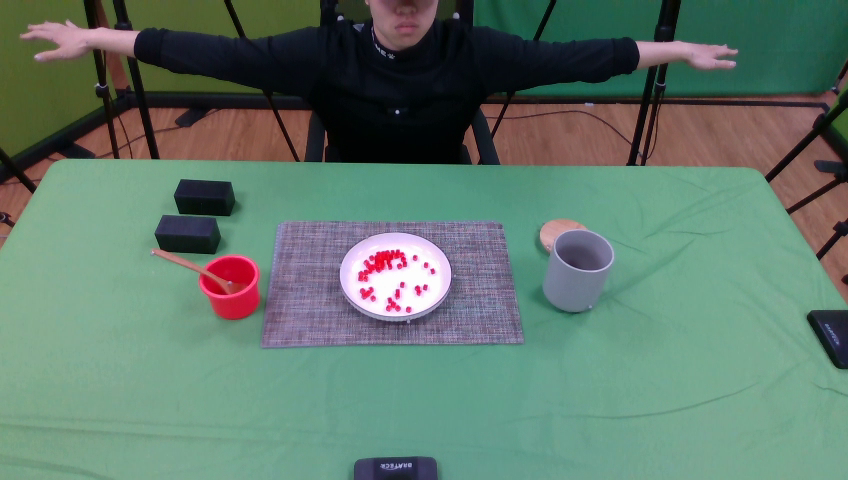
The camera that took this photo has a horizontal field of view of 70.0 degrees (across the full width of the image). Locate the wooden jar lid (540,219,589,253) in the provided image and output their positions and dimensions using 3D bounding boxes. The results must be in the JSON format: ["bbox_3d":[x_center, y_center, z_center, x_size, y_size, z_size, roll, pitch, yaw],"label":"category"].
[{"bbox_3d":[0.286,0.001,1.218,0.108,0.021,0.107,1,46,-1],"label":"wooden jar lid"}]

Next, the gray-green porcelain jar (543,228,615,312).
[{"bbox_3d":[0.273,0.059,1.086,0.106,0.127,0.105,2,46,-2],"label":"gray-green porcelain jar"}]

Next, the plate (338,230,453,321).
[{"bbox_3d":[-0.052,0.068,1.111,0.208,0.039,0.206,2,46,-2],"label":"plate"}]

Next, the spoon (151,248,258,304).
[{"bbox_3d":[-0.369,0.058,1.028,0.195,0.021,0.041,36,35,-32],"label":"spoon"}]
